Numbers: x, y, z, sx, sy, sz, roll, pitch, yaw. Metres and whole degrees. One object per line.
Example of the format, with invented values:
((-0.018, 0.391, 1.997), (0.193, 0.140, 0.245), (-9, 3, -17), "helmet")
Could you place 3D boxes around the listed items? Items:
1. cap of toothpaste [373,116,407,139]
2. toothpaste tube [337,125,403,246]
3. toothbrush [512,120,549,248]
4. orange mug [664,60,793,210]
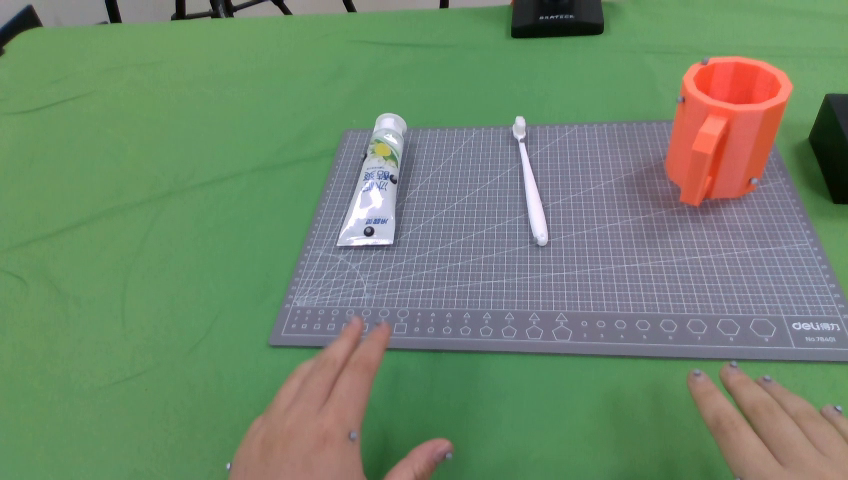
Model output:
((-0.037, -0.118, 0.655), (0.037, 0.038, 0.011), (0, 50, 8), "cap of toothpaste")
((-0.047, -0.058, 0.606), (0.055, 0.035, 0.163), (-4, 49, 13), "toothpaste tube")
((0.104, -0.061, 0.592), (0.014, 0.017, 0.180), (7, 46, -8), "toothbrush")
((0.260, -0.088, 0.537), (0.083, 0.102, 0.126), (22, 48, 28), "orange mug")
